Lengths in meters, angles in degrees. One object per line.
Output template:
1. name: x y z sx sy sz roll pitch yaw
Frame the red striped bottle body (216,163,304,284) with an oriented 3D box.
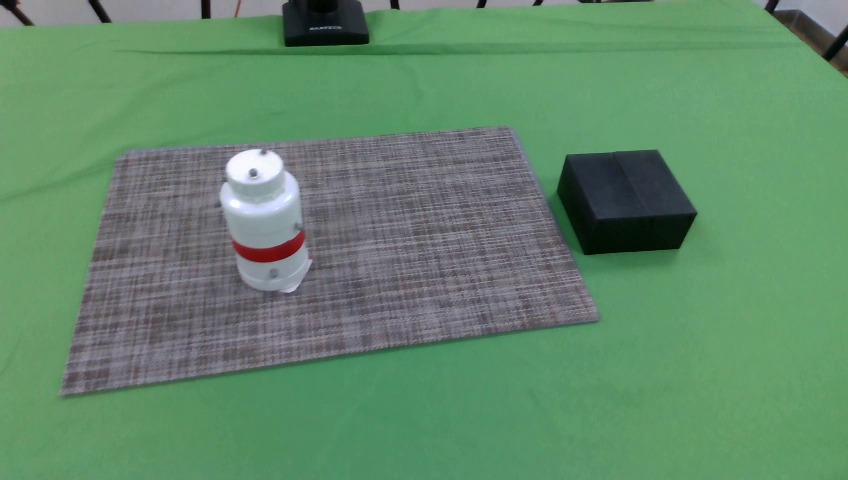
1. red striped bottle body: -0.141 -0.022 0.522 0.063 0.121 0.062 2 47 -2

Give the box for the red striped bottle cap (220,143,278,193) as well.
1. red striped bottle cap: -0.139 -0.058 0.483 0.044 0.018 0.044 5 46 -5
